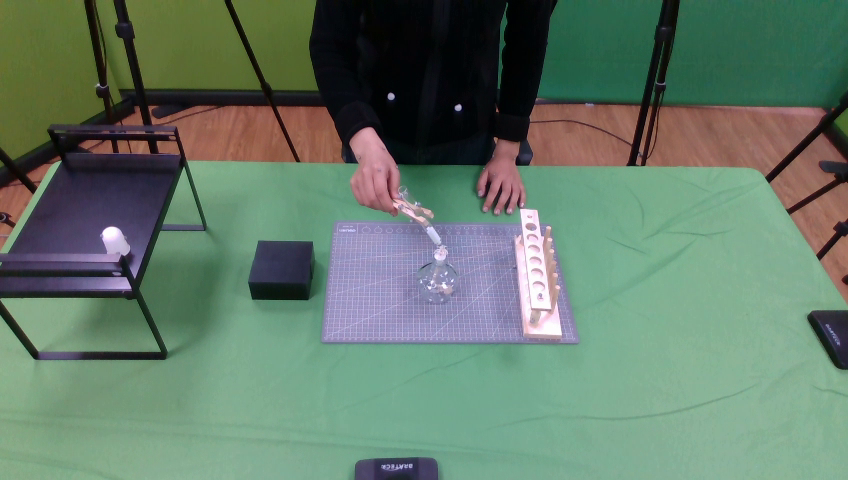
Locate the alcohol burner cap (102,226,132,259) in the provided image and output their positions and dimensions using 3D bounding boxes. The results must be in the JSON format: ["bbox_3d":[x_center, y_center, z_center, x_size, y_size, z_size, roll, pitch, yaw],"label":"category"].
[{"bbox_3d":[-0.457,0.001,0.897,0.034,0.048,0.033,2,47,-2],"label":"alcohol burner cap"}]

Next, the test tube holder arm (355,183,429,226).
[{"bbox_3d":[-0.057,-0.061,1.003,0.177,0.015,0.013,27,66,39],"label":"test tube holder arm"}]

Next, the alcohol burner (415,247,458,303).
[{"bbox_3d":[0.024,0.057,1.078,0.078,0.119,0.077,3,44,-2],"label":"alcohol burner"}]

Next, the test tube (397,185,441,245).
[{"bbox_3d":[-0.004,-0.037,0.967,0.017,0.151,0.017,-14,51,18],"label":"test tube"}]

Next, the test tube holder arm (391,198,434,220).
[{"bbox_3d":[-0.021,-0.050,0.977,0.087,0.015,0.010,20,62,36],"label":"test tube holder arm"}]

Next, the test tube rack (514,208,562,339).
[{"bbox_3d":[0.212,0.056,1.113,0.067,0.085,0.241,3,46,-1],"label":"test tube rack"}]
